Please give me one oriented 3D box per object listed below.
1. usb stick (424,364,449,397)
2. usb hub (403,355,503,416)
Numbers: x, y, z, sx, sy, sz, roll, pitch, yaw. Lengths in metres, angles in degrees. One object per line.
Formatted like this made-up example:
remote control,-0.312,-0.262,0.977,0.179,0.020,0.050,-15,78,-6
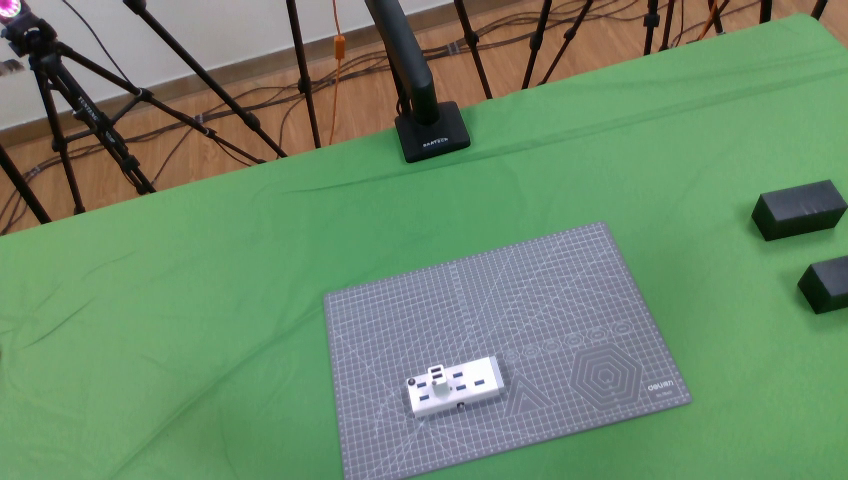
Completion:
usb stick,0.017,0.184,0.781,0.021,0.060,0.027,-19,52,-2
usb hub,0.038,0.192,0.806,0.125,0.025,0.049,-15,54,0
